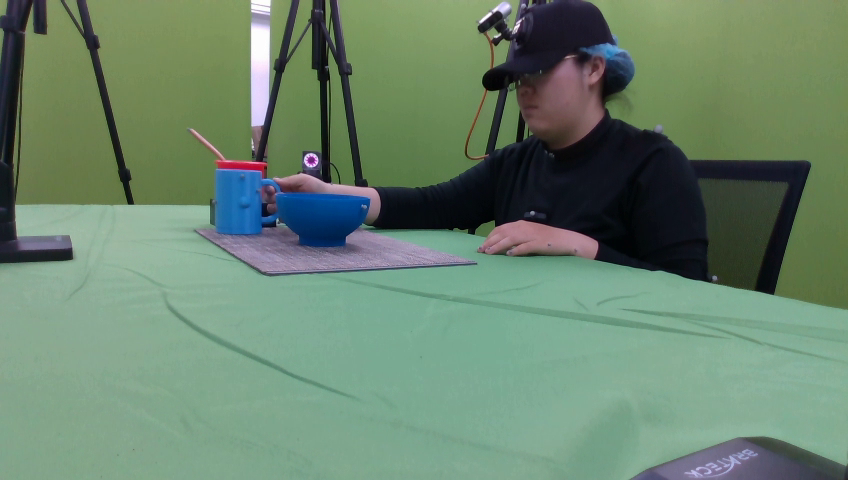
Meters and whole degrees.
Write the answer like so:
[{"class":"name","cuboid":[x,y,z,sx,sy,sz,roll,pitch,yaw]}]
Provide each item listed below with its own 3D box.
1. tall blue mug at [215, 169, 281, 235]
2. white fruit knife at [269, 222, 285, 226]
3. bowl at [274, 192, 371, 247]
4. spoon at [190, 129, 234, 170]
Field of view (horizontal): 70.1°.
[{"class":"tall blue mug","cuboid":[-0.313,-0.068,1.062,0.077,0.108,0.107,6,8,31]},{"class":"white fruit knife","cuboid":[-0.222,-0.037,1.261,0.208,0.016,0.027,-4,-17,-32]},{"class":"bowl","cuboid":[-0.161,-0.032,0.959,0.151,0.077,0.151,3,8,0]},{"class":"spoon","cuboid":[-0.388,-0.150,1.174,0.193,0.021,0.042,48,19,7]}]
